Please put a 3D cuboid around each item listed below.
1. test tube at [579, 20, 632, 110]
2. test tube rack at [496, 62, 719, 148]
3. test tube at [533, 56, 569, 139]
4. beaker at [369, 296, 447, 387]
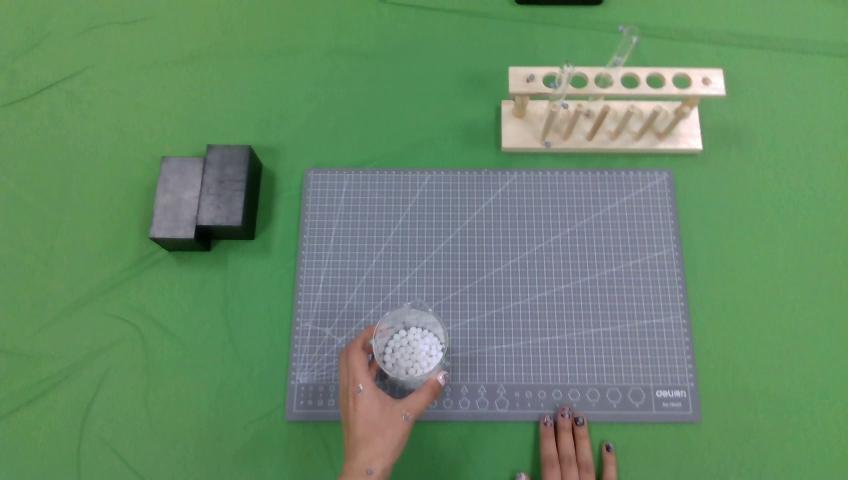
[{"bbox_3d":[0.200,-0.191,0.679,0.017,0.151,0.017,1,70,-2],"label":"test tube"},{"bbox_3d":[0.212,-0.159,0.721,0.242,0.085,0.066,0,73,1],"label":"test tube rack"},{"bbox_3d":[0.140,-0.155,0.674,0.017,0.151,0.017,0,70,1],"label":"test tube"},{"bbox_3d":[-0.014,0.109,0.625,0.074,0.101,0.083,9,70,3],"label":"beaker"}]
